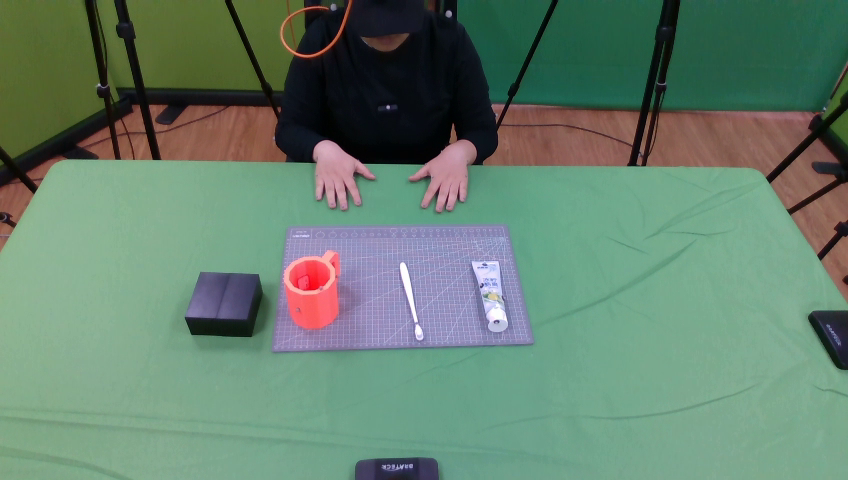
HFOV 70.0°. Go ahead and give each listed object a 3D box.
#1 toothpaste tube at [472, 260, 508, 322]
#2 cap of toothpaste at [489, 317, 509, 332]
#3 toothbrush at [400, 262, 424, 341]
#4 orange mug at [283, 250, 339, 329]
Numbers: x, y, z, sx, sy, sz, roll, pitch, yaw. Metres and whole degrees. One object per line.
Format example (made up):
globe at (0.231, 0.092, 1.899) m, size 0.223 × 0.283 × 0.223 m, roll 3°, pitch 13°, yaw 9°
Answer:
toothpaste tube at (0.126, 0.094, 1.109) m, size 0.055 × 0.034 × 0.164 m, roll 3°, pitch 41°, yaw -9°
cap of toothpaste at (0.130, 0.146, 1.050) m, size 0.037 × 0.037 × 0.011 m, roll -1°, pitch 42°, yaw -4°
toothbrush at (-0.024, 0.106, 1.093) m, size 0.014 × 0.017 × 0.180 m, roll -18°, pitch 46°, yaw 2°
orange mug at (-0.186, 0.078, 1.052) m, size 0.083 × 0.101 × 0.126 m, roll 20°, pitch 52°, yaw 15°
